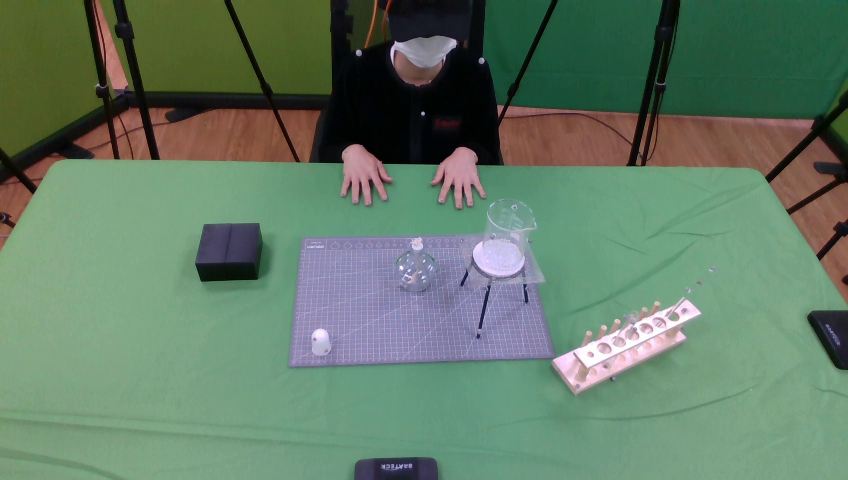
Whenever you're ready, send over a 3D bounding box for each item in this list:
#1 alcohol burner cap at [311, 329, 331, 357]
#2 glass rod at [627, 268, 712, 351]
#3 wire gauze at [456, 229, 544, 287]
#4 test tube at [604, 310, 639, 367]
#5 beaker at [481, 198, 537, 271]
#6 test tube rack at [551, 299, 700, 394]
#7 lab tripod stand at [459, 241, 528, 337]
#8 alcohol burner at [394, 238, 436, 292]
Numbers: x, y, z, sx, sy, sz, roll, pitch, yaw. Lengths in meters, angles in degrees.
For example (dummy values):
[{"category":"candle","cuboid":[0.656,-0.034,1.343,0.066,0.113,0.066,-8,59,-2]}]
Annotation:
[{"category":"alcohol burner cap","cuboid":[-0.173,0.168,1.005,0.034,0.048,0.033,2,46,-2]},{"category":"glass rod","cuboid":[0.399,0.117,0.995,0.008,0.200,0.008,26,29,-15]},{"category":"wire gauze","cuboid":[0.125,0.030,1.008,0.125,0.011,0.120,-3,48,-11]},{"category":"test tube","cuboid":[0.310,0.158,0.957,0.017,0.151,0.017,1,49,-1]},{"category":"beaker","cuboid":[0.134,-0.005,0.974,0.084,0.101,0.074,23,49,16]},{"category":"test tube rack","cuboid":[0.339,0.166,1.021,0.242,0.085,0.066,-19,50,-21]},{"category":"lab tripod stand","cuboid":[0.122,0.075,1.054,0.148,0.132,0.147,3,44,-3]},{"category":"alcohol burner","cuboid":[-0.016,0.038,1.093,0.078,0.119,0.077,2,48,-2]}]
